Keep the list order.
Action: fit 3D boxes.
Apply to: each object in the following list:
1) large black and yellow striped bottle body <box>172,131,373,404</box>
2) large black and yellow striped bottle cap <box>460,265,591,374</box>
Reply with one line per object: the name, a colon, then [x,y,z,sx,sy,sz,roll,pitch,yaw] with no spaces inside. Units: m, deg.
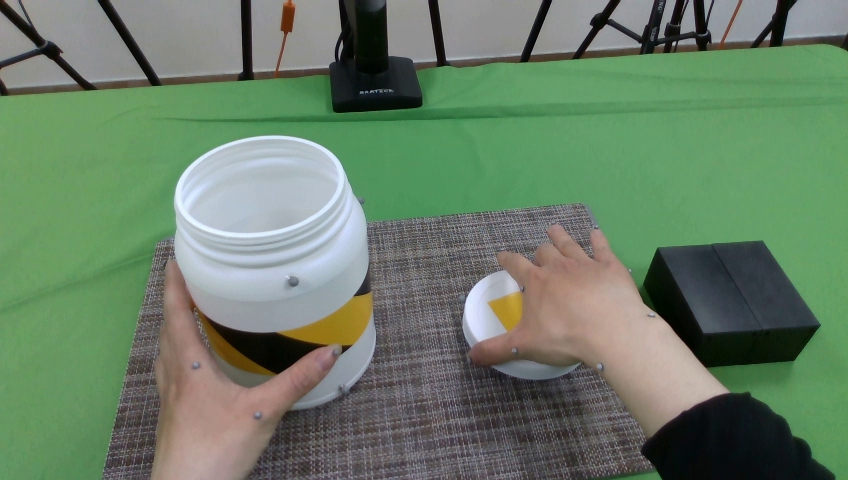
large black and yellow striped bottle body: [-0.108,0.023,0.458,0.131,0.185,0.129,1,45,0]
large black and yellow striped bottle cap: [0.089,0.067,0.536,0.115,0.019,0.114,2,42,-1]
